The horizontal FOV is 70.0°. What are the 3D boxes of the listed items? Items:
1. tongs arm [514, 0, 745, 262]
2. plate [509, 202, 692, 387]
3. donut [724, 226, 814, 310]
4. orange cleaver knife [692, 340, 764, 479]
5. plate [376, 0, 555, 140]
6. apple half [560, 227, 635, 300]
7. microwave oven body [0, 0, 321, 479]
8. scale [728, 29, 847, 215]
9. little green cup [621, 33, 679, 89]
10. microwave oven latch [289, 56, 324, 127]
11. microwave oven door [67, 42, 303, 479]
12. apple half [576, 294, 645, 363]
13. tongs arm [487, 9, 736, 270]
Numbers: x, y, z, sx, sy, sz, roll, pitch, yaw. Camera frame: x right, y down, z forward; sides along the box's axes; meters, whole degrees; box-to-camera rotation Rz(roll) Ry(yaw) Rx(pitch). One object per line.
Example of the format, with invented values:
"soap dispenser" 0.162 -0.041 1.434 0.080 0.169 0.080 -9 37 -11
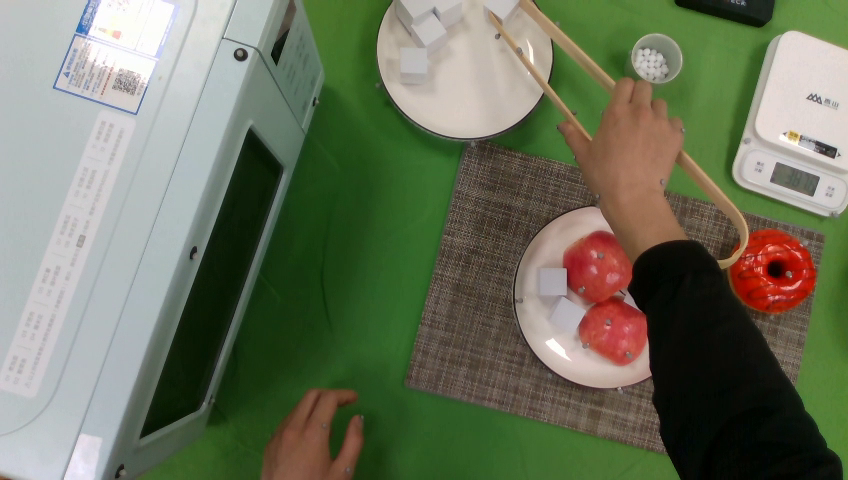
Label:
"tongs arm" 0.200 -0.136 0.632 0.028 0.028 0.384 -33 66 -1
"plate" 0.199 0.061 0.697 0.209 0.038 0.208 0 85 -3
"donut" 0.400 0.032 0.706 0.099 0.048 0.099 0 84 -1
"orange cleaver knife" 0.356 0.223 0.700 0.077 0.012 0.210 -3 84 -8
"plate" 0.048 -0.217 0.717 0.208 0.039 0.207 0 85 -3
"apple half" 0.199 0.024 0.684 0.081 0.053 0.074 -30 84 -6
"microwave oven body" -0.328 -0.057 0.568 0.326 0.260 0.441 18 85 -2
"scale" 0.465 -0.143 0.735 0.149 0.031 0.200 19 85 -1
"little green cup" 0.269 -0.212 0.728 0.061 0.038 0.061 0 84 -3
"microwave oven latch" -0.138 -0.170 0.684 0.030 0.029 0.079 20 85 -1
"microwave oven door" -0.201 0.027 0.562 0.039 0.244 0.355 17 84 -1
"apple half" 0.217 0.099 0.688 0.081 0.033 0.081 0 86 1
"tongs arm" 0.181 -0.122 0.633 0.051 0.027 0.381 -30 66 4
